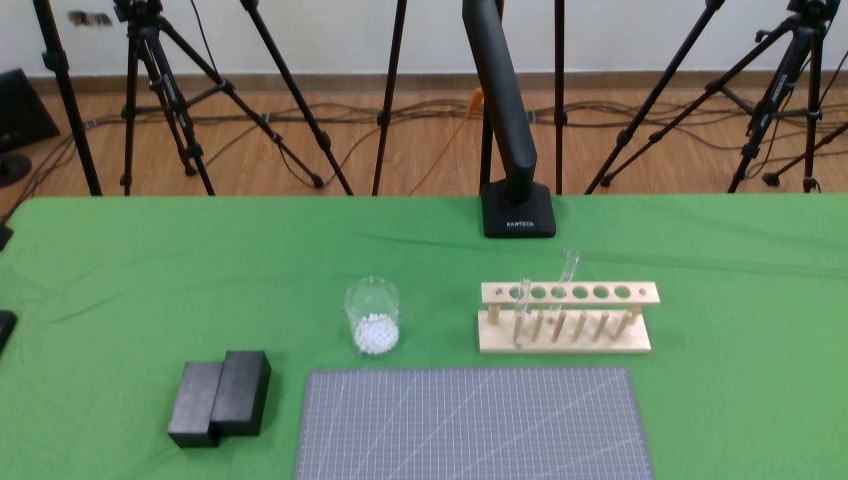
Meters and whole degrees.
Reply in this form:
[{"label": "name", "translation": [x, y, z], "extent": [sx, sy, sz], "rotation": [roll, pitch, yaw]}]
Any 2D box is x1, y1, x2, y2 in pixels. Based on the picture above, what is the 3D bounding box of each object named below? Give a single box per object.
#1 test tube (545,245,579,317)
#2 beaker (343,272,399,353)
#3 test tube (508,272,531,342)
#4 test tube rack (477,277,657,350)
[{"label": "test tube", "translation": [0.188, 0.060, 0.833], "extent": [0.017, 0.151, 0.017], "rotation": [2, 48, -2]}, {"label": "beaker", "translation": [-0.072, 0.105, 0.853], "extent": [0.074, 0.101, 0.083], "rotation": [-4, 50, -3]}, {"label": "test tube", "translation": [0.128, 0.092, 0.814], "extent": [0.017, 0.152, 0.017], "rotation": [0, 49, 1]}, {"label": "test tube rack", "translation": [0.199, 0.105, 0.860], "extent": [0.242, 0.086, 0.066], "rotation": [-1, 51, 0]}]
